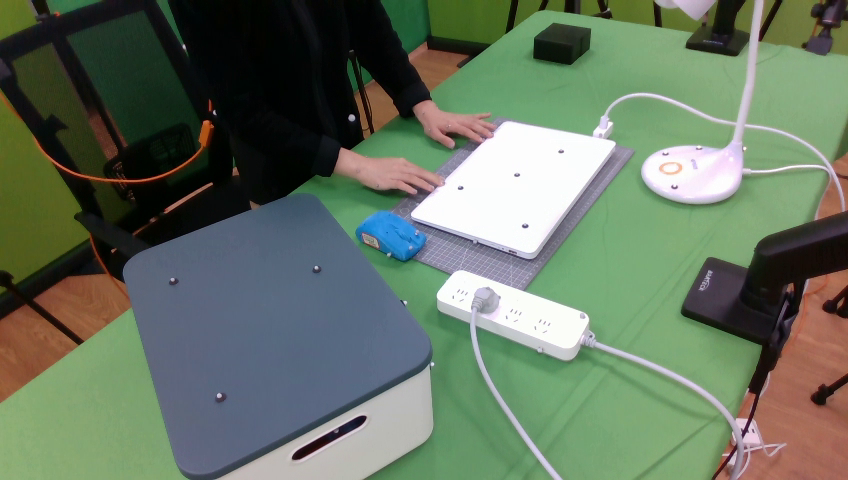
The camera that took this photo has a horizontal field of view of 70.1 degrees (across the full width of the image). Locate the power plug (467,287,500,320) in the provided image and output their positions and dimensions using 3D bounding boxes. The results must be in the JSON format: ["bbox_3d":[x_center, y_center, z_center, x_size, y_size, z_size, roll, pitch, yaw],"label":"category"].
[{"bbox_3d":[0.073,0.092,0.814,0.035,0.053,0.073,29,54,34],"label":"power plug"}]

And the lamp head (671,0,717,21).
[{"bbox_3d":[0.375,-0.373,0.807,0.122,0.113,0.112,-40,27,32],"label":"lamp head"}]

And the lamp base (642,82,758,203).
[{"bbox_3d":[0.464,-0.174,0.992,0.179,0.181,0.159,-5,41,-1],"label":"lamp base"}]

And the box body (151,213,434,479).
[{"bbox_3d":[-0.175,0.131,0.738,0.255,0.161,0.360,-25,43,-19],"label":"box body"}]

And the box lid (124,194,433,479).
[{"bbox_3d":[-0.182,0.076,0.689,0.264,0.015,0.368,-24,42,-20],"label":"box lid"}]

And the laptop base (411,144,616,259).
[{"bbox_3d":[0.168,-0.101,1.073,0.234,0.023,0.355,17,46,31],"label":"laptop base"}]

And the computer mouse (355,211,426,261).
[{"bbox_3d":[-0.055,-0.010,0.979,0.116,0.041,0.063,27,49,29],"label":"computer mouse"}]

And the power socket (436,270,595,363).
[{"bbox_3d":[0.118,0.101,0.832,0.225,0.033,0.072,19,48,27],"label":"power socket"}]

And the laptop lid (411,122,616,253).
[{"bbox_3d":[0.165,-0.111,1.067,0.240,0.013,0.357,19,46,31],"label":"laptop lid"}]

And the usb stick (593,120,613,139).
[{"bbox_3d":[0.336,-0.201,1.147,0.021,0.027,0.059,26,54,26],"label":"usb stick"}]

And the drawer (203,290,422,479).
[{"bbox_3d":[-0.136,0.188,0.740,0.195,0.073,0.210,-24,52,-22],"label":"drawer"}]

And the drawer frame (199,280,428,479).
[{"bbox_3d":[-0.134,0.176,0.729,0.202,0.083,0.211,-26,50,-19],"label":"drawer frame"}]
